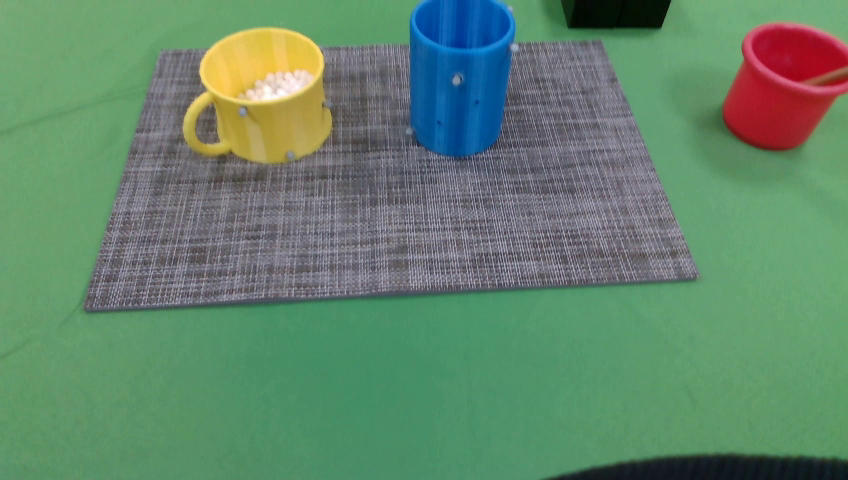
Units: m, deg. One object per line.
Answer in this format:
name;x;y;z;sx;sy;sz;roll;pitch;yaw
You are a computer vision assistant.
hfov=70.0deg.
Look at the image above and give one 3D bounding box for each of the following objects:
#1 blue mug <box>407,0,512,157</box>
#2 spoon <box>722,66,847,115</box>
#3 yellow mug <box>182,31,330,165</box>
blue mug;0.038;-0.145;0.519;0.082;0.107;0.116;34;58;22
spoon;0.349;-0.135;0.505;0.041;0.193;0.022;-43;110;-33
yellow mug;-0.145;-0.114;0.512;0.099;0.064;0.131;39;61;24
